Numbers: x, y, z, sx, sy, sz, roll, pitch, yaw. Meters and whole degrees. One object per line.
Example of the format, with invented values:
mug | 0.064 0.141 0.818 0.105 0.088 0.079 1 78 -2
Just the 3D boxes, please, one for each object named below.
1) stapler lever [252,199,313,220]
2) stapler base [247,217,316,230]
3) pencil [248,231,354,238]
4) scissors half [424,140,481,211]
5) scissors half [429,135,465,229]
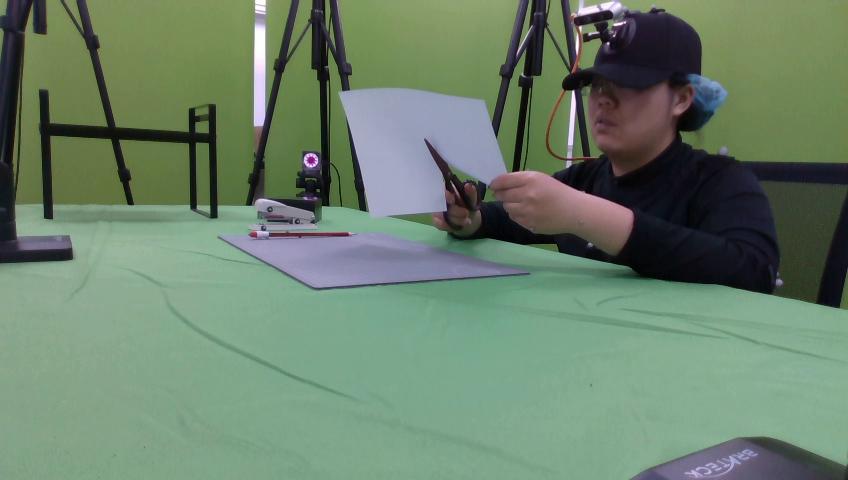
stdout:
stapler lever | -0.273 -0.058 1.170 0.119 0.040 0.026 0 10 -37
stapler base | -0.276 -0.033 1.172 0.131 0.024 0.041 0 10 -37
pencil | -0.206 -0.008 1.039 0.195 0.012 0.012 0 7 -36
scissors half | 0.046 -0.103 0.964 0.012 0.040 0.176 24 -13 44
scissors half | 0.032 -0.088 0.957 0.013 0.175 0.040 18 46 42
